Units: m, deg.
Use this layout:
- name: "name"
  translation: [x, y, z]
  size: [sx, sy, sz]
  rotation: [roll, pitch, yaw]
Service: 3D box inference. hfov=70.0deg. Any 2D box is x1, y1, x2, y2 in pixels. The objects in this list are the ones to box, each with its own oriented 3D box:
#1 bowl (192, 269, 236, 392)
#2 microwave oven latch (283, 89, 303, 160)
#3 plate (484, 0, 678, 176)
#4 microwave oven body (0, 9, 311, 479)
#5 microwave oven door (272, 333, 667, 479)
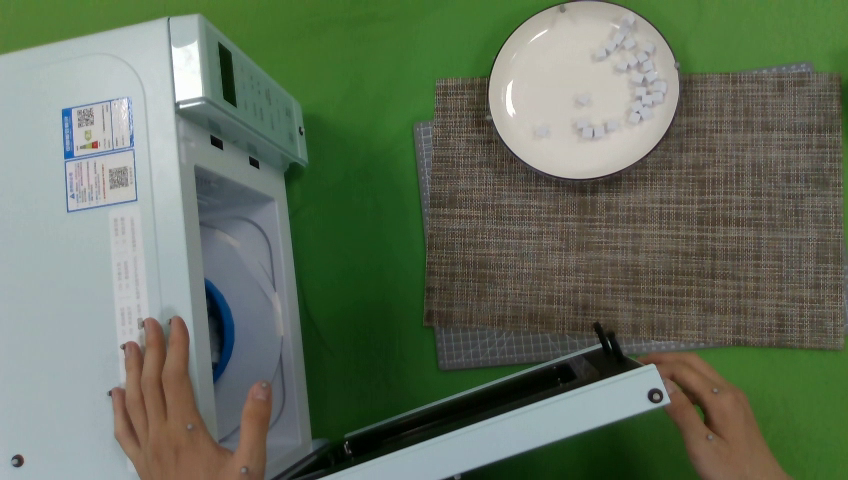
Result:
- name: "bowl"
  translation: [-0.263, 0.101, 0.653]
  size: [0.151, 0.077, 0.151]
  rotation: [-1, 85, 9]
- name: "microwave oven latch"
  translation: [-0.164, -0.137, 0.723]
  size: [0.030, 0.029, 0.079]
  rotation: [-8, 85, 8]
- name: "plate"
  translation: [0.173, -0.172, 0.684]
  size: [0.209, 0.038, 0.208]
  rotation: [-1, 84, 10]
- name: "microwave oven body"
  translation: [-0.300, 0.051, 0.632]
  size: [0.326, 0.261, 0.440]
  rotation: [-9, 84, 8]
- name: "microwave oven door"
  translation: [0.027, 0.172, 0.563]
  size: [0.356, 0.245, 0.039]
  rotation: [-22, 81, 7]
